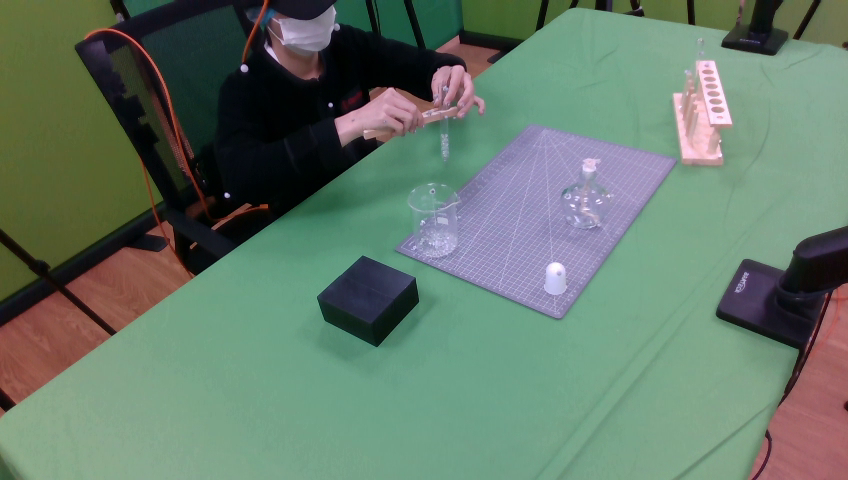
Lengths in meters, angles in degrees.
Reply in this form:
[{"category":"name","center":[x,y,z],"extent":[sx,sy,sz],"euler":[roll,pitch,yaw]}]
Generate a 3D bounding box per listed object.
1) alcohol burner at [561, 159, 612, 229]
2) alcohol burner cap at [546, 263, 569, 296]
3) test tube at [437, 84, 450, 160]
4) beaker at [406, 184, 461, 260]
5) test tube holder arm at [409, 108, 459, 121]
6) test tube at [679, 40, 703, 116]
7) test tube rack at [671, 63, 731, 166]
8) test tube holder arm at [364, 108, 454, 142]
[{"category":"alcohol burner","center":[0.257,-0.077,0.951],"extent":[0.078,0.119,0.077],"euler":[-3,40,3]},{"category":"alcohol burner cap","center":[0.191,0.053,0.862],"extent":[0.034,0.048,0.033],"euler":[-5,40,4]},{"category":"test tube","center":[0.035,-0.204,1.065],"extent":[0.017,0.151,0.017],"euler":[-3,43,3]},{"category":"beaker","center":[0.019,-0.026,0.939],"extent":[0.084,0.101,0.074],"euler":[1,41,9]},{"category":"test tube holder arm","center":[0.018,-0.212,1.040],"extent":[0.088,0.015,0.010],"euler":[-14,34,-15]},{"category":"test tube","center":[0.502,-0.303,1.138],"extent":[0.017,0.151,0.017],"euler":[-3,40,3]},{"category":"test tube rack","center":[0.513,-0.241,1.132],"extent":[0.066,0.085,0.242],"euler":[4,41,14]},{"category":"test tube holder arm","center":[-0.020,-0.195,1.019],"extent":[0.179,0.015,0.013],"euler":[-22,38,-25]}]
